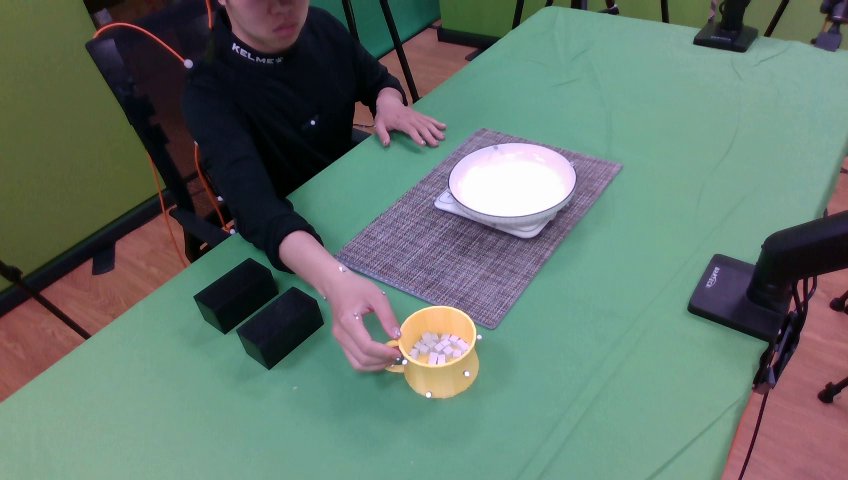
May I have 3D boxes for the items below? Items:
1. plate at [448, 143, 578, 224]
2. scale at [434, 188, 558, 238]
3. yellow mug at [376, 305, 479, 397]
[{"bbox_3d":[0.145,-0.089,0.989,0.209,0.038,0.208,-4,41,4],"label":"plate"},{"bbox_3d":[0.132,-0.075,1.025,0.199,0.032,0.149,22,48,30],"label":"scale"},{"bbox_3d":[0.003,0.143,0.768,0.131,0.064,0.099,-8,41,1],"label":"yellow mug"}]
